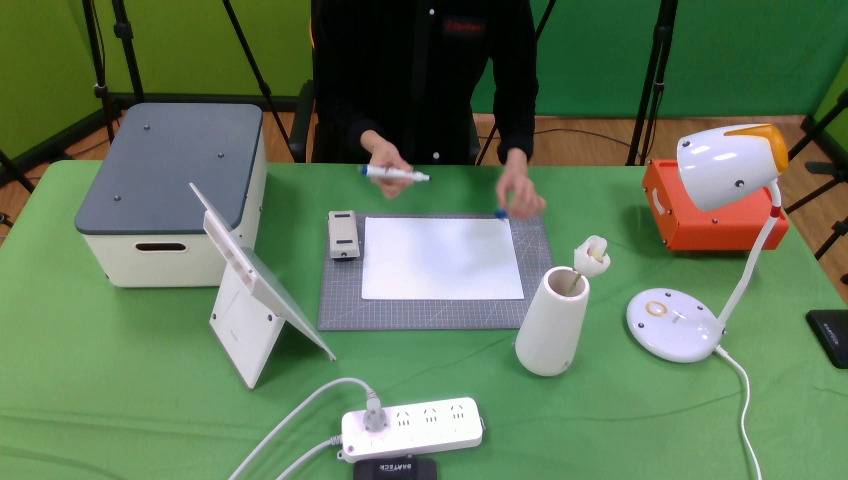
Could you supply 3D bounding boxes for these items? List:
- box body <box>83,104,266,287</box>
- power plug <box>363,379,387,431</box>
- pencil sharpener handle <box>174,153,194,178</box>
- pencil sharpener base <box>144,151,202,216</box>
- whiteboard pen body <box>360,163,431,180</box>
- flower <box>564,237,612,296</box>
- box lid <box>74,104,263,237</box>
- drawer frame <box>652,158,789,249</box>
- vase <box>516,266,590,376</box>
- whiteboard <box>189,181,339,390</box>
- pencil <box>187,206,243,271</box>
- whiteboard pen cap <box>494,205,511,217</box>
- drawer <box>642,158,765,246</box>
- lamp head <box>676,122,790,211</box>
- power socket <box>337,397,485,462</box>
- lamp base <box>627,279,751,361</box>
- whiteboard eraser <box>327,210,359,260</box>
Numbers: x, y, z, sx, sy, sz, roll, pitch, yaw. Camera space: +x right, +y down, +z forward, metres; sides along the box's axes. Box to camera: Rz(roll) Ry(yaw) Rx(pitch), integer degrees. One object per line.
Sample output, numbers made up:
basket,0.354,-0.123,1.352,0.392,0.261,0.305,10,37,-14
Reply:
box body,-0.447,-0.088,1.150,0.254,0.161,0.361,-1,46,-5
power plug,-0.072,0.252,0.910,0.035,0.053,0.072,3,45,-1
pencil sharpener handle,-0.479,-0.156,1.225,0.036,0.068,0.030,24,48,1
pencil sharpener base,-0.493,-0.112,1.199,0.061,0.107,0.076,15,47,11
whiteboard pen body,-0.046,-0.119,1.064,0.141,0.017,0.017,5,42,-32
flower,0.206,0.088,0.892,0.038,0.363,0.044,-17,67,-9
box lid,-0.443,-0.139,1.095,0.263,0.015,0.369,-1,45,-5
drawer frame,0.571,-0.075,1.214,0.214,0.083,0.200,0,45,-1
vase,0.208,0.132,0.964,0.098,0.201,0.097,3,46,-3
whiteboard,-0.292,0.096,0.929,0.144,0.307,0.216,-37,57,-10
pencil,-0.401,-0.009,1.176,0.012,0.012,0.193,15,45,10
whiteboard pen cap,0.146,-0.053,1.133,0.018,0.018,0.033,37,40,27
drawer,0.566,-0.076,1.211,0.212,0.073,0.193,2,45,-2
lamp head,0.423,-0.104,0.819,0.122,0.113,0.112,-13,33,40
power socket,-0.018,0.285,0.915,0.227,0.033,0.071,-5,46,-8
lamp base,0.459,0.100,1.027,0.178,0.181,0.160,27,51,17
whiteboard eraser,-0.158,-0.009,1.177,0.055,0.042,0.112,-6,47,-7
